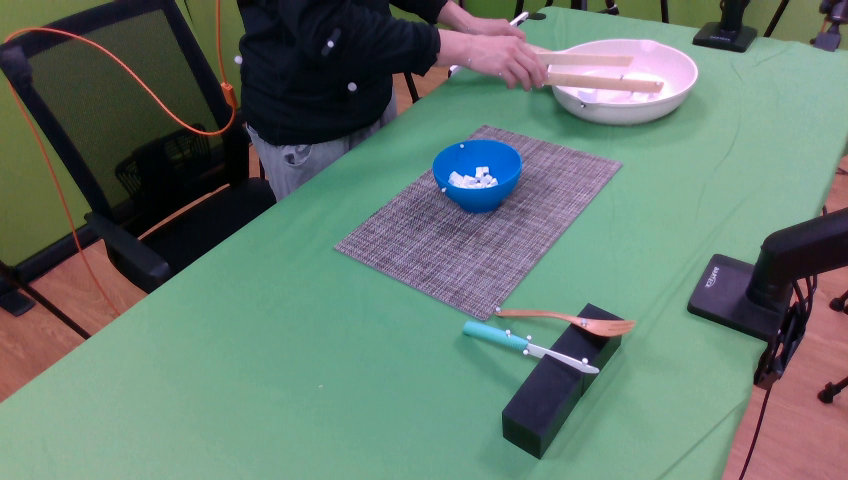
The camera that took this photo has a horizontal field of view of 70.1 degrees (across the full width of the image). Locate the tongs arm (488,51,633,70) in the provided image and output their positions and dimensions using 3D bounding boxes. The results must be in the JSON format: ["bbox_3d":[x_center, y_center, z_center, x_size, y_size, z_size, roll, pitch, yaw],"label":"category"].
[{"bbox_3d":[0.276,-0.347,1.180,0.390,0.028,0.028,-8,51,-32],"label":"tongs arm"}]

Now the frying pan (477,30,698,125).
[{"bbox_3d":[0.321,-0.371,1.290,0.484,0.103,0.308,29,51,24],"label":"frying pan"}]

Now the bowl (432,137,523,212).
[{"bbox_3d":[0.091,-0.100,1.022,0.151,0.077,0.150,-4,41,4],"label":"bowl"}]

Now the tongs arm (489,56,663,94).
[{"bbox_3d":[0.298,-0.309,1.144,0.387,0.026,0.050,-4,45,-28],"label":"tongs arm"}]

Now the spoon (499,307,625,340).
[{"bbox_3d":[0.169,0.102,0.773,0.042,0.021,0.192,-7,11,-38],"label":"spoon"}]

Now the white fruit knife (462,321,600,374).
[{"bbox_3d":[0.126,0.132,0.752,0.205,0.027,0.016,12,48,42],"label":"white fruit knife"}]
